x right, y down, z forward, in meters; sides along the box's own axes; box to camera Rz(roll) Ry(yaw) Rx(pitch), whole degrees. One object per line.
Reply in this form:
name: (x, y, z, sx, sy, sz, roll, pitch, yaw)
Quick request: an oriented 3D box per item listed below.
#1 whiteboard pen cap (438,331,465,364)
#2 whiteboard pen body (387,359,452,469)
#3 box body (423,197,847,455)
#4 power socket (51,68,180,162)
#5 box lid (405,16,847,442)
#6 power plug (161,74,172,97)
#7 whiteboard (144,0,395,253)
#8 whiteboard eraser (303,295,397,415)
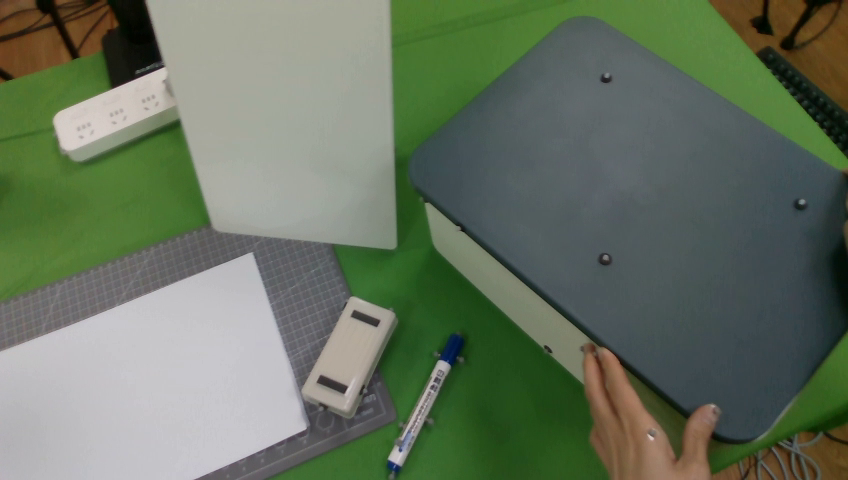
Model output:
whiteboard pen cap: (0.028, 0.113, 0.628, 0.018, 0.018, 0.033, 23, 68, 14)
whiteboard pen body: (0.002, 0.161, 0.606, 0.017, 0.017, 0.140, 24, 67, 15)
box body: (0.201, -0.002, 0.596, 0.254, 0.161, 0.361, -42, 69, -17)
power socket: (-0.364, -0.172, 0.778, 0.227, 0.033, 0.071, -26, 66, -11)
box lid: (0.188, -0.041, 0.527, 0.263, 0.015, 0.368, -43, 69, -16)
power plug: (-0.306, -0.181, 0.756, 0.035, 0.053, 0.072, -17, 70, -6)
whiteboard: (-0.128, -0.155, 0.642, 0.217, 0.308, 0.142, 6, 43, 7)
whiteboard eraser: (-0.073, 0.115, 0.614, 0.055, 0.042, 0.112, 19, 66, 13)
